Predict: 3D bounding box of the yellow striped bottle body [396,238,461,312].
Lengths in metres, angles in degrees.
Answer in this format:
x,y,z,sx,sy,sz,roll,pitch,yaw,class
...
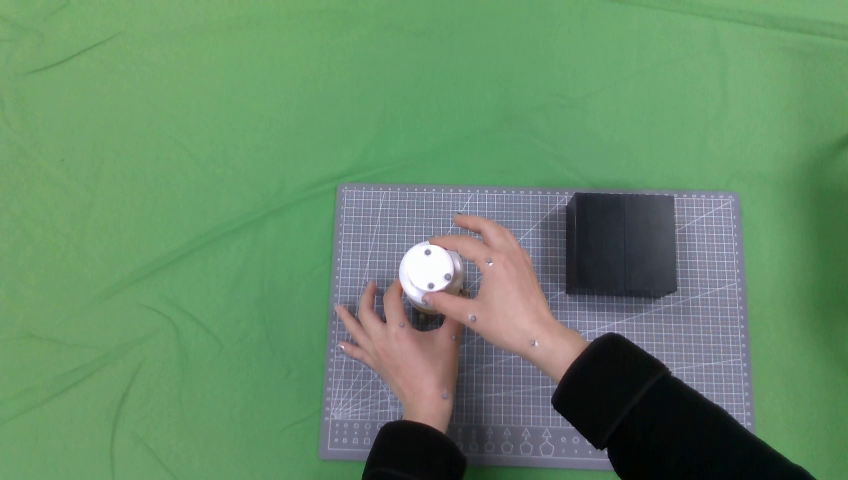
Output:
x,y,z,sx,sy,sz,roll,pitch,yaw,class
0.006,0.036,0.605,0.063,0.121,0.062,0,78,2,yellow striped bottle body

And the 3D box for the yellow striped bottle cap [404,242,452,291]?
x,y,z,sx,sy,sz,roll,pitch,yaw,class
0.003,0.024,0.554,0.044,0.019,0.044,0,79,0,yellow striped bottle cap
